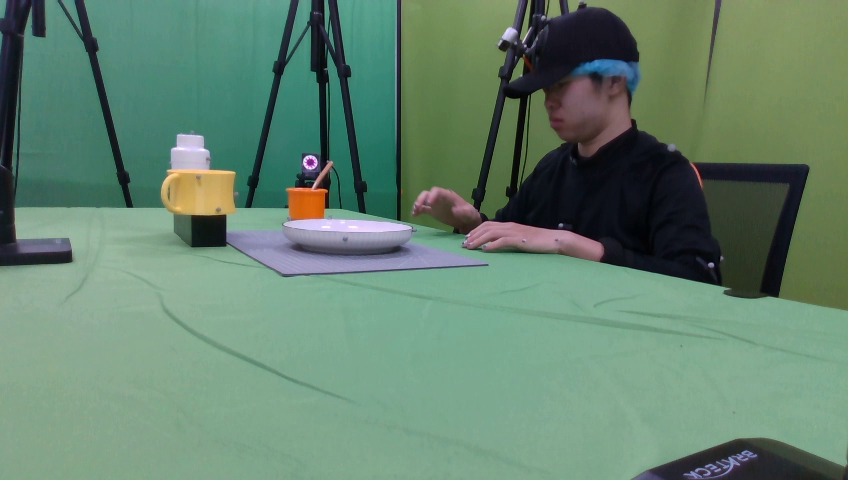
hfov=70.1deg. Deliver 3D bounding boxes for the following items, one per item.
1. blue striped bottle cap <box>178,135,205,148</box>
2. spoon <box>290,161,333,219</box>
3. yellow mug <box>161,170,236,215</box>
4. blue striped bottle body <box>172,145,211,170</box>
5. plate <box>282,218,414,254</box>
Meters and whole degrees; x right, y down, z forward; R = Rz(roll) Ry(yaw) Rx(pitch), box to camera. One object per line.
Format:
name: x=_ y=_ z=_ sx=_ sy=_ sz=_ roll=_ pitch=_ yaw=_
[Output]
blue striped bottle cap: x=-0.405 y=-0.171 z=1.053 sx=0.044 sy=0.020 sz=0.044 roll=3 pitch=10 yaw=0
spoon: x=-0.251 y=-0.117 z=1.381 sx=0.041 sy=0.193 sz=0.022 roll=5 pitch=-37 yaw=26
yellow mug: x=-0.354 y=-0.074 z=0.935 sx=0.099 sy=0.064 sz=0.131 roll=5 pitch=9 yaw=21
blue striped bottle body: x=-0.407 y=-0.120 z=1.059 sx=0.063 sy=0.120 sz=0.063 roll=3 pitch=8 yaw=0
plate: x=-0.121 y=-0.007 z=0.971 sx=0.208 sy=0.039 sz=0.207 roll=2 pitch=7 yaw=0
